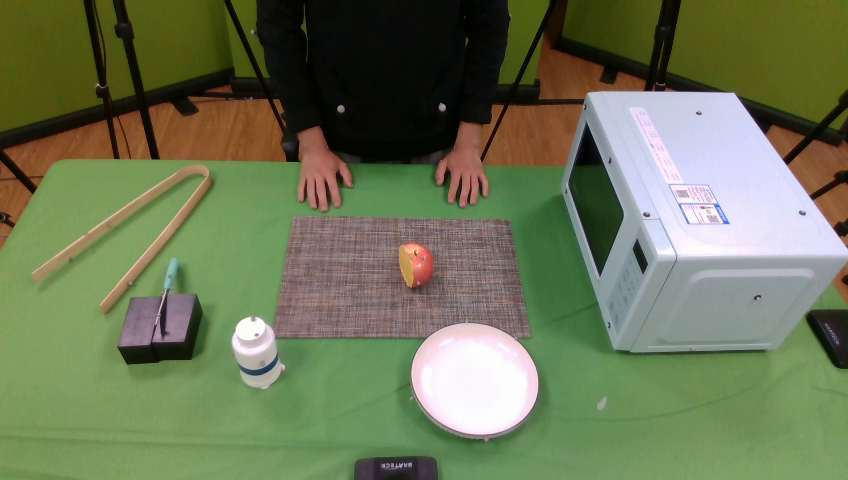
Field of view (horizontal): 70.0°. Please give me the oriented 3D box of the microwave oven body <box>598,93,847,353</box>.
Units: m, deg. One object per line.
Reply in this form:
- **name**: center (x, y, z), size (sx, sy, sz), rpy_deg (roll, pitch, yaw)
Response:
- **microwave oven body**: center (0.475, -0.041, 1.109), size (0.326, 0.261, 0.438), rpy_deg (-1, 45, -4)

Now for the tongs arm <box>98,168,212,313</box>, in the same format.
- **tongs arm**: center (-0.503, -0.012, 1.167), size (0.028, 0.028, 0.385), rpy_deg (11, 46, 11)

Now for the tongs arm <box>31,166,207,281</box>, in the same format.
- **tongs arm**: center (-0.578, -0.040, 1.184), size (0.050, 0.026, 0.384), rpy_deg (23, 48, 17)

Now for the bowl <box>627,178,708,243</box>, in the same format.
- **bowl**: center (0.456, -0.047, 1.168), size (0.151, 0.077, 0.150), rpy_deg (7, 36, -5)

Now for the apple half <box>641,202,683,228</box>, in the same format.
- **apple half**: center (0.457, -0.054, 1.160), size (0.081, 0.033, 0.081), rpy_deg (-2, 32, 1)

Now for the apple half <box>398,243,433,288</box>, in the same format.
- **apple half**: center (-0.012, 0.046, 1.115), size (0.053, 0.075, 0.080), rpy_deg (-11, 44, -20)

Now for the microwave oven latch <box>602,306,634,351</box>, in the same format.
- **microwave oven latch**: center (0.332, 0.153, 1.044), size (0.030, 0.029, 0.078), rpy_deg (-1, 45, -4)

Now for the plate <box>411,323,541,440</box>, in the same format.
- **plate**: center (0.082, 0.228, 0.976), size (0.208, 0.039, 0.206), rpy_deg (2, 45, -2)

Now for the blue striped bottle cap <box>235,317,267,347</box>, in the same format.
- **blue striped bottle cap**: center (-0.259, 0.137, 0.907), size (0.044, 0.021, 0.044), rpy_deg (2, 43, -2)

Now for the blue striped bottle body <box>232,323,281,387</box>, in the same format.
- **blue striped bottle body**: center (-0.262, 0.172, 0.944), size (0.063, 0.121, 0.062), rpy_deg (2, 46, -2)

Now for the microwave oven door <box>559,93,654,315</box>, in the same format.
- **microwave oven door**: center (0.327, -0.074, 1.123), size (0.039, 0.245, 0.353), rpy_deg (0, 46, -5)

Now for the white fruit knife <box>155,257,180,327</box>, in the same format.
- **white fruit knife**: center (-0.440, 0.085, 1.037), size (0.016, 0.027, 0.206), rpy_deg (10, 26, -19)
